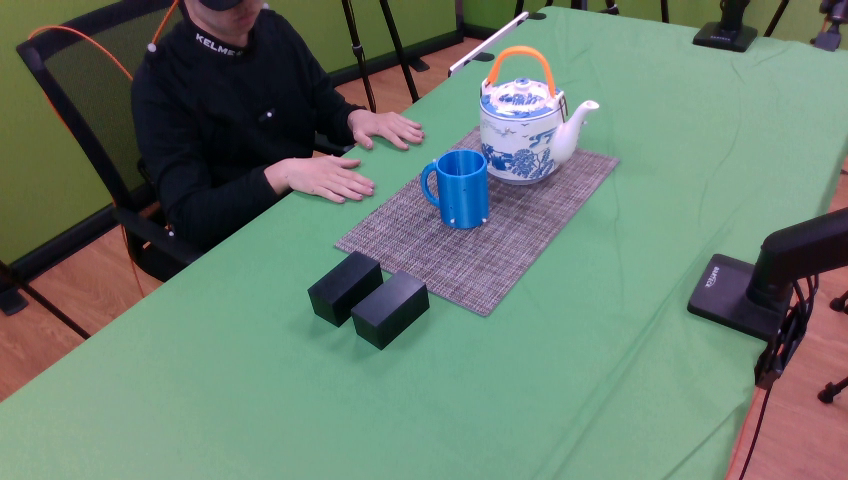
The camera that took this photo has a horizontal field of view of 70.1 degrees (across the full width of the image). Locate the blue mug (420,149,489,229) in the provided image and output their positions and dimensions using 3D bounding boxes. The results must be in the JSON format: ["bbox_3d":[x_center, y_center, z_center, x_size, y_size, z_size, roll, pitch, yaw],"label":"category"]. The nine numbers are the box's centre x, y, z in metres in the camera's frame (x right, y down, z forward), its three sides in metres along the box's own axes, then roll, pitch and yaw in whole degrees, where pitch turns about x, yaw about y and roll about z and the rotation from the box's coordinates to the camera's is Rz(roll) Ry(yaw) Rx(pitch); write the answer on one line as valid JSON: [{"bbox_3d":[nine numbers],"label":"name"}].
[{"bbox_3d":[0.048,-0.085,0.991,0.116,0.106,0.082,9,43,19],"label":"blue mug"}]

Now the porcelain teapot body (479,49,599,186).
[{"bbox_3d":[0.192,-0.208,1.023,0.204,0.226,0.145,17,46,25],"label":"porcelain teapot body"}]

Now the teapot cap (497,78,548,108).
[{"bbox_3d":[0.164,-0.246,1.009,0.085,0.044,0.084,-4,43,4],"label":"teapot cap"}]
